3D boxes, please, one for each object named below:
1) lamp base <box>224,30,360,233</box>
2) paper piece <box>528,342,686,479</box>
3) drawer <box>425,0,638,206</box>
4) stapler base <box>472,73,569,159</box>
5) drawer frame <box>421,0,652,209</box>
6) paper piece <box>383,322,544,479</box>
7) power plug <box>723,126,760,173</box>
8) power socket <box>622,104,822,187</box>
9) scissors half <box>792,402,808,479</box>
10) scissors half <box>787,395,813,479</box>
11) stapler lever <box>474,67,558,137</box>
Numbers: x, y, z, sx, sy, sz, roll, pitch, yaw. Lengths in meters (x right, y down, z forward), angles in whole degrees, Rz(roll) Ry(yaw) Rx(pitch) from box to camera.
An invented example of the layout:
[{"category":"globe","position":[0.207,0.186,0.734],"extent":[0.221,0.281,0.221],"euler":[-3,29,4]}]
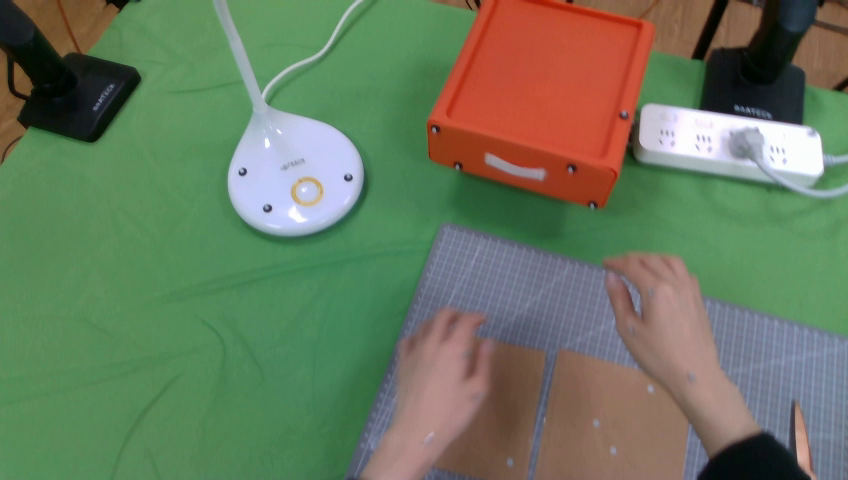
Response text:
[{"category":"lamp base","position":[-0.166,-0.123,0.657],"extent":[0.160,0.182,0.177],"euler":[-34,64,-16]},{"category":"paper piece","position":[0.180,0.178,0.586],"extent":[0.135,0.004,0.135],"euler":[14,64,10]},{"category":"drawer","position":[0.128,-0.161,0.676],"extent":[0.194,0.074,0.210],"euler":[17,64,11]},{"category":"stapler base","position":[0.108,-0.146,0.688],"extent":[0.041,0.024,0.129],"euler":[-43,66,-2]},{"category":"drawer frame","position":[0.127,-0.164,0.677],"extent":[0.201,0.083,0.212],"euler":[17,63,11]},{"category":"paper piece","position":[0.042,0.156,0.602],"extent":[0.135,0.009,0.137],"euler":[10,64,11]},{"category":"power plug","position":[0.356,-0.098,0.688],"extent":[0.035,0.053,0.072],"euler":[21,65,11]},{"category":"power socket","position":[0.354,-0.114,0.723],"extent":[0.226,0.033,0.071],"euler":[11,64,7]},{"category":"scissors half","position":[0.338,0.225,0.554],"extent":[0.040,0.013,0.174],"euler":[19,60,1]},{"category":"scissors half","position":[0.358,0.228,0.554],"extent":[0.040,0.013,0.173],"euler":[1,61,-3]},{"category":"stapler lever","position":[0.099,-0.155,0.665],"extent":[0.027,0.040,0.117],"euler":[-43,65,-2]}]
